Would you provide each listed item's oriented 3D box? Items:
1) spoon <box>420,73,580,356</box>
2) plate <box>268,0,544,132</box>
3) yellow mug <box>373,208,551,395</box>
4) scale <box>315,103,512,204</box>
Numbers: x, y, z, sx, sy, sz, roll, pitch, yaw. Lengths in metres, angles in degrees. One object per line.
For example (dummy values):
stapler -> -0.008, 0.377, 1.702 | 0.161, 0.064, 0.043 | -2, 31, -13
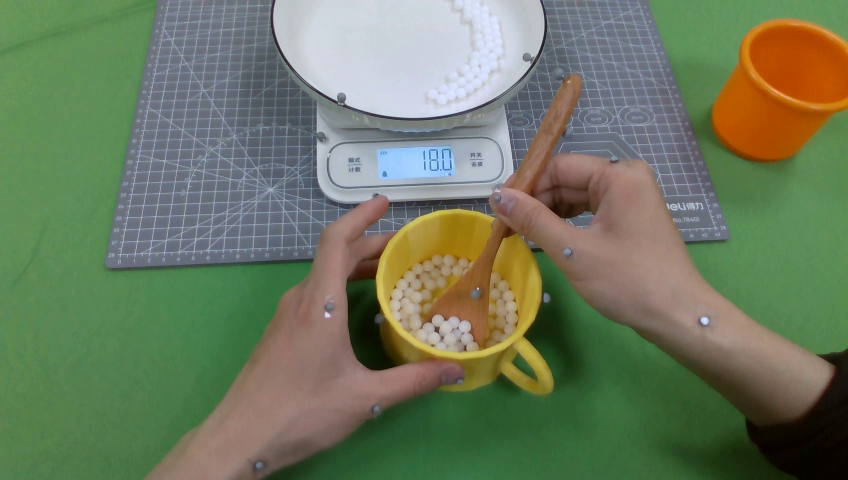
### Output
spoon -> 0.046, -0.006, 0.360 | 0.041, 0.194, 0.022 | 32, 24, 20
plate -> -0.013, -0.163, 0.472 | 0.209, 0.038, 0.207 | 2, 62, -3
yellow mug -> 0.030, 0.048, 0.382 | 0.100, 0.064, 0.130 | -40, 71, -20
scale -> -0.013, -0.122, 0.487 | 0.149, 0.032, 0.199 | -3, 62, -4
